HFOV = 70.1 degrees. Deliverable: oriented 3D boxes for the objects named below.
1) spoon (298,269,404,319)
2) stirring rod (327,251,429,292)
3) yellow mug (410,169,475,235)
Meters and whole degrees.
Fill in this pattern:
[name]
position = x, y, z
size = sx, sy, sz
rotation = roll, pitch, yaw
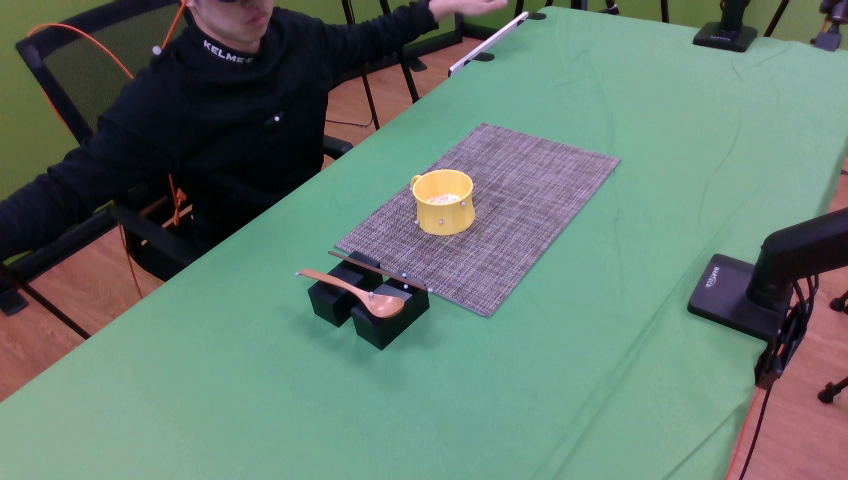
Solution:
[spoon]
position = -0.106, 0.068, 0.831
size = 0.192, 0.022, 0.042
rotation = 21, 50, 31
[stirring rod]
position = -0.068, 0.043, 0.858
size = 0.175, 0.006, 0.014
rotation = 18, 9, 27
[yellow mug]
position = 0.022, -0.070, 1.007
size = 0.129, 0.064, 0.100
rotation = 29, 52, 36
